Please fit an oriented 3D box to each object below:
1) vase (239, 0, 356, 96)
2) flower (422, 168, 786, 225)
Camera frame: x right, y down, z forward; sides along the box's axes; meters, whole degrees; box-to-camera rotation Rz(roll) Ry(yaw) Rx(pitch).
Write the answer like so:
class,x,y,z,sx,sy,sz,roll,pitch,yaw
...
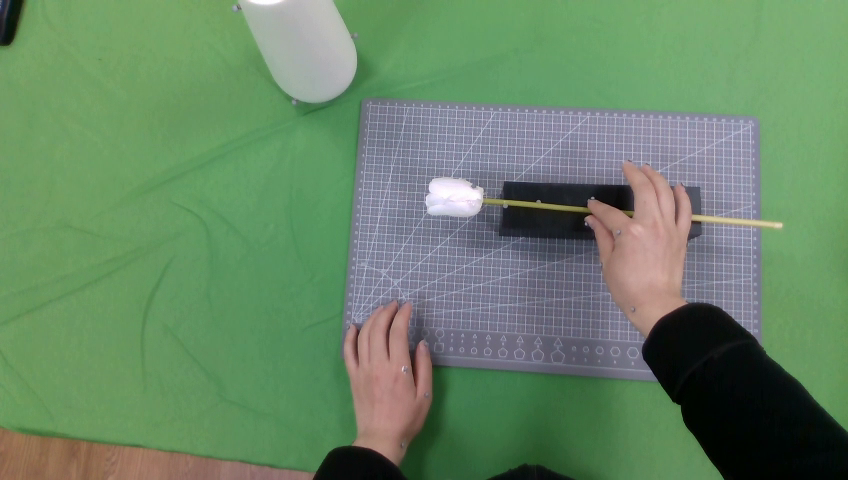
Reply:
class,x,y,z,sx,sy,sz,roll,pitch,yaw
vase,-0.129,-0.224,0.611,0.098,0.200,0.098,0,80,2
flower,0.178,-0.037,0.616,0.361,0.038,0.043,6,48,6
